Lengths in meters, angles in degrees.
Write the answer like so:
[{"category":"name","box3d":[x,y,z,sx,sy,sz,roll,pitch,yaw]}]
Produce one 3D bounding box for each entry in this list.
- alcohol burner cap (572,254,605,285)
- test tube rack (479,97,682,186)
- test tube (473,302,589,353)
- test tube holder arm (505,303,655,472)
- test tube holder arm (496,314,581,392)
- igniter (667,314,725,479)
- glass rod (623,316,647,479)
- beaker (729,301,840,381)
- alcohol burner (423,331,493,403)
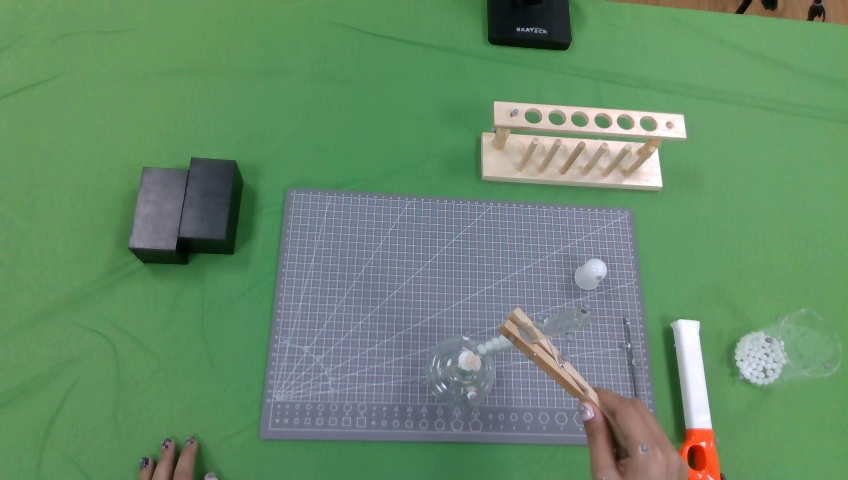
[{"category":"alcohol burner cap","box3d":[0.204,0.034,0.743,0.034,0.048,0.033,2,70,-6]},{"category":"test tube rack","box3d":[0.198,-0.124,0.780,0.243,0.085,0.066,3,69,-6]},{"category":"test tube","box3d":[0.082,0.075,0.504,0.017,0.150,0.017,10,67,-25]},{"category":"test tube holder arm","box3d":[0.130,0.124,0.507,0.178,0.015,0.013,48,58,0]},{"category":"test tube holder arm","box3d":[0.096,0.095,0.502,0.088,0.015,0.010,41,57,-4]},{"category":"igniter","box3d":[0.313,0.222,0.699,0.057,0.025,0.274,6,70,-15]},{"category":"glass rod","box3d":[0.247,0.187,0.711,0.008,0.008,0.198,2,70,-6]},{"category":"beaker","box3d":[0.415,0.122,0.710,0.074,0.101,0.083,16,68,-1]},{"category":"alcohol burner","box3d":[0.039,0.132,0.649,0.078,0.120,0.077,2,67,-5]}]
